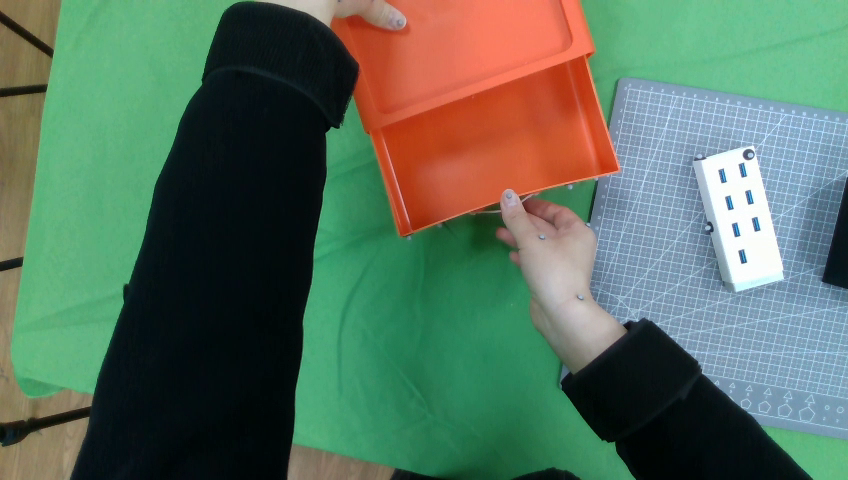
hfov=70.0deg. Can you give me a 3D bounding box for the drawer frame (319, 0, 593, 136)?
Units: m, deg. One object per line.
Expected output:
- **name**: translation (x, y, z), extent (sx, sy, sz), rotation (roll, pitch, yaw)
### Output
- **drawer frame**: translation (0.011, -0.221, 0.517), extent (0.201, 0.082, 0.214), rotation (-19, 94, 5)

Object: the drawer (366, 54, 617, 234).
- **drawer**: translation (0.040, -0.131, 0.530), extent (0.194, 0.073, 0.212), rotation (-17, 94, 5)

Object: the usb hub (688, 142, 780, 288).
- **usb hub**: translation (0.284, -0.023, 0.553), extent (0.049, 0.025, 0.125), rotation (-16, 96, 3)
